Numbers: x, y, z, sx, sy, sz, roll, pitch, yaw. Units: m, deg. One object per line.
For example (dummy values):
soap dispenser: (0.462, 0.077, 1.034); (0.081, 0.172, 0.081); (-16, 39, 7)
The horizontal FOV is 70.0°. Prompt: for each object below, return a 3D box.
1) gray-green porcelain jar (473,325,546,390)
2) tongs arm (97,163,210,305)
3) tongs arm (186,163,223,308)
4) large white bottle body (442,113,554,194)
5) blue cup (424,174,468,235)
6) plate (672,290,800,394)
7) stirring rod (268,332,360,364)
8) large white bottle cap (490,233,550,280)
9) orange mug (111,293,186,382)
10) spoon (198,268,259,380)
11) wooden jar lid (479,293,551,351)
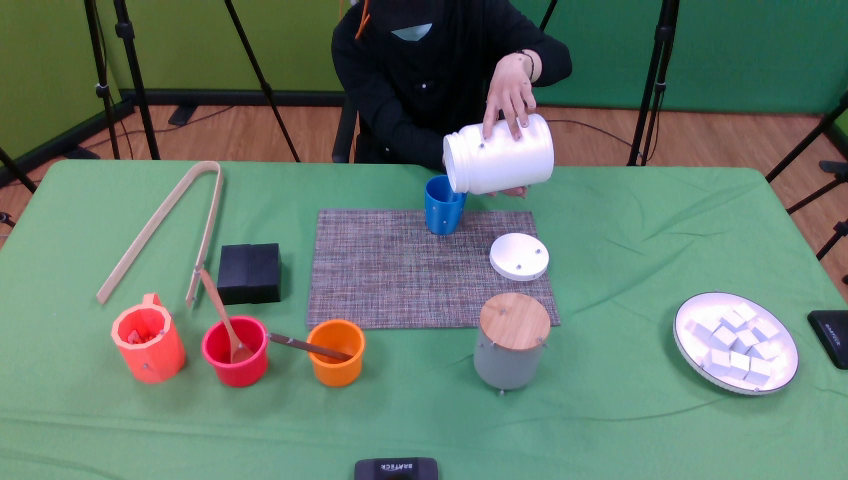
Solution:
gray-green porcelain jar: (0.135, 0.170, 0.969); (0.106, 0.127, 0.105); (2, 46, -2)
tongs arm: (-0.520, -0.027, 1.183); (0.028, 0.028, 0.385); (5, 45, 12)
tongs arm: (-0.436, -0.024, 1.181); (0.051, 0.027, 0.382); (-3, 45, 0)
large white bottle body: (0.135, -0.158, 1.129); (0.185, 0.131, 0.129); (-11, 48, -5)
blue cup: (0.039, -0.065, 1.201); (0.093, 0.101, 0.092); (3, 46, -3)
plate: (0.533, 0.178, 1.050); (0.208, 0.039, 0.206); (2, 46, -2)
stirring rod: (-0.167, 0.169, 0.941); (0.177, 0.006, 0.014); (26, 26, -41)
large white bottle cap: (0.186, 0.031, 1.177); (0.115, 0.018, 0.114); (2, 46, -2)
orange mug: (-0.435, 0.149, 0.969); (0.083, 0.101, 0.125); (-5, 51, -9)
spoon: (-0.313, 0.133, 0.962); (0.041, 0.021, 0.194); (-24, 96, -22)
wooden jar lid: (0.137, 0.127, 0.925); (0.108, 0.021, 0.107); (1, 47, 0)
